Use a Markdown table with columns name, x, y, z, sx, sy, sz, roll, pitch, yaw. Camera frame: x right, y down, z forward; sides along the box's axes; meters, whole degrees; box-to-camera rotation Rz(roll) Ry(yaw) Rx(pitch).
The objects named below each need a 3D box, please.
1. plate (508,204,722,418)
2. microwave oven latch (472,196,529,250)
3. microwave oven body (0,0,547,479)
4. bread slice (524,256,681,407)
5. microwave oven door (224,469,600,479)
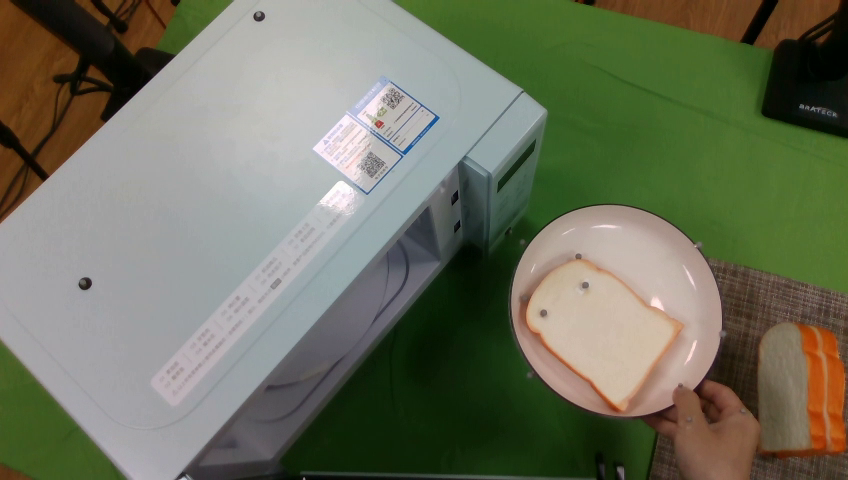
| name | x | y | z | sx | sy | sz | roll | pitch | yaw |
| --- | --- | --- | --- | --- | --- | --- | --- | --- | --- |
| plate | 0.184 | 0.068 | 0.598 | 0.208 | 0.039 | 0.206 | 1 | 76 | -2 |
| microwave oven latch | 0.090 | -0.027 | 0.710 | 0.030 | 0.030 | 0.079 | 40 | 80 | 15 |
| microwave oven body | -0.146 | -0.014 | 0.623 | 0.324 | 0.262 | 0.441 | 38 | 80 | 14 |
| bread slice | 0.165 | 0.082 | 0.592 | 0.134 | 0.018 | 0.107 | 36 | 74 | 8 |
| microwave oven door | -0.004 | 0.226 | 0.531 | 0.355 | 0.245 | 0.039 | -1 | 71 | 4 |
